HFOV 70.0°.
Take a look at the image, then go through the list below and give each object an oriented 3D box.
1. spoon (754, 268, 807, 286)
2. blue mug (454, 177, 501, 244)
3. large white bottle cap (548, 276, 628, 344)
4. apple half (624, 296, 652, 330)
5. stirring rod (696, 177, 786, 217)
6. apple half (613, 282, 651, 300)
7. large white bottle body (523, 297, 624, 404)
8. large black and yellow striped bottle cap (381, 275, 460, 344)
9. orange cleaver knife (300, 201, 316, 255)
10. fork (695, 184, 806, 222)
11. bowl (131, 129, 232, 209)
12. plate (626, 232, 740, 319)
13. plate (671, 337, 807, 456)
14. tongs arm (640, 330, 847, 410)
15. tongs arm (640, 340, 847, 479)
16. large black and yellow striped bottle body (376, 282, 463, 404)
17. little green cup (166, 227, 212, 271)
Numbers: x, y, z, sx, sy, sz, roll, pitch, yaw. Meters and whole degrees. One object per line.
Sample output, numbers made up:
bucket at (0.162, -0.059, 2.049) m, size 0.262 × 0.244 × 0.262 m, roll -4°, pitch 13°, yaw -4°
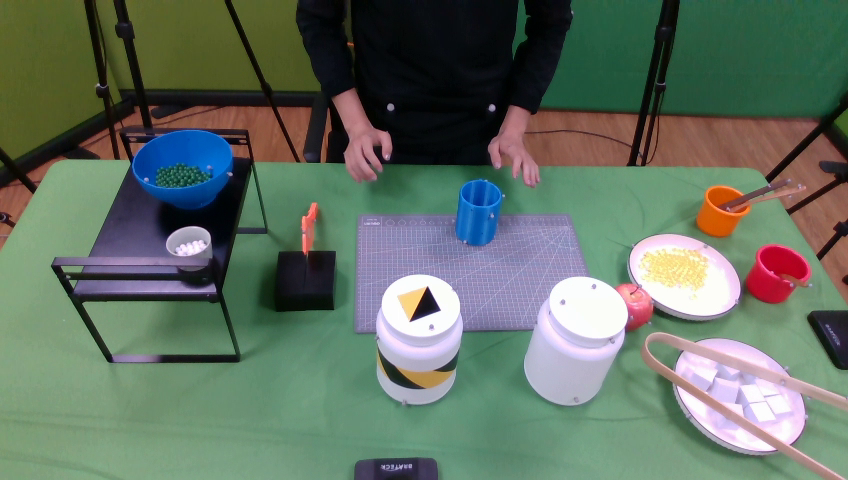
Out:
spoon at (0.647, 0.065, 1.100) m, size 0.041 × 0.021 × 0.194 m, roll 15°, pitch 3°, yaw 10°
blue mug at (0.106, -0.067, 1.208) m, size 0.082 × 0.106 × 0.116 m, roll 6°, pitch 46°, yaw 1°
large white bottle cap at (0.240, 0.100, 0.890) m, size 0.115 × 0.018 × 0.114 m, roll 3°, pitch 47°, yaw -3°
apple half at (0.368, 0.135, 1.060) m, size 0.081 × 0.081 × 0.032 m, roll -11°, pitch 43°, yaw -15°
stirring rod at (0.648, -0.087, 1.244) m, size 0.176 × 0.006 × 0.014 m, roll -25°, pitch 50°, yaw 29°
apple half at (0.356, 0.109, 1.086) m, size 0.081 × 0.075 × 0.053 m, roll -14°, pitch 44°, yaw -12°
large white bottle body at (0.235, 0.159, 0.952) m, size 0.131 × 0.185 × 0.130 m, roll 2°, pitch 47°, yaw -2°
large black and yellow striped bottle cap at (-0.005, 0.098, 0.875) m, size 0.115 × 0.019 × 0.114 m, roll 2°, pitch 45°, yaw -2°
orange cleaver knife at (-0.221, -0.027, 1.160) m, size 0.012 × 0.077 × 0.210 m, roll -1°, pitch 15°, yaw -4°
fork at (0.658, -0.074, 1.230) m, size 0.207 × 0.019 × 0.028 m, roll -24°, pitch 34°, yaw 36°
bowl at (-0.381, -0.103, 0.978) m, size 0.151 × 0.077 × 0.150 m, roll 2°, pitch 46°, yaw -2°
plate at (0.488, 0.071, 1.157) m, size 0.209 × 0.038 × 0.208 m, roll 3°, pitch 46°, yaw -3°
plate at (0.503, 0.254, 0.984) m, size 0.208 × 0.039 × 0.206 m, roll 2°, pitch 46°, yaw -2°
tongs arm at (0.543, 0.225, 0.969) m, size 0.384 × 0.026 × 0.050 m, roll 22°, pitch 52°, yaw 13°
tongs arm at (0.500, 0.277, 0.920) m, size 0.386 × 0.028 × 0.028 m, roll 34°, pitch 59°, yaw 22°
large black and yellow striped bottle body at (-0.010, 0.155, 0.937) m, size 0.131 × 0.185 × 0.130 m, roll 2°, pitch 47°, yaw -2°
little green cup at (-0.344, 0.014, 0.895) m, size 0.061 × 0.039 × 0.061 m, roll 3°, pitch 46°, yaw -3°
